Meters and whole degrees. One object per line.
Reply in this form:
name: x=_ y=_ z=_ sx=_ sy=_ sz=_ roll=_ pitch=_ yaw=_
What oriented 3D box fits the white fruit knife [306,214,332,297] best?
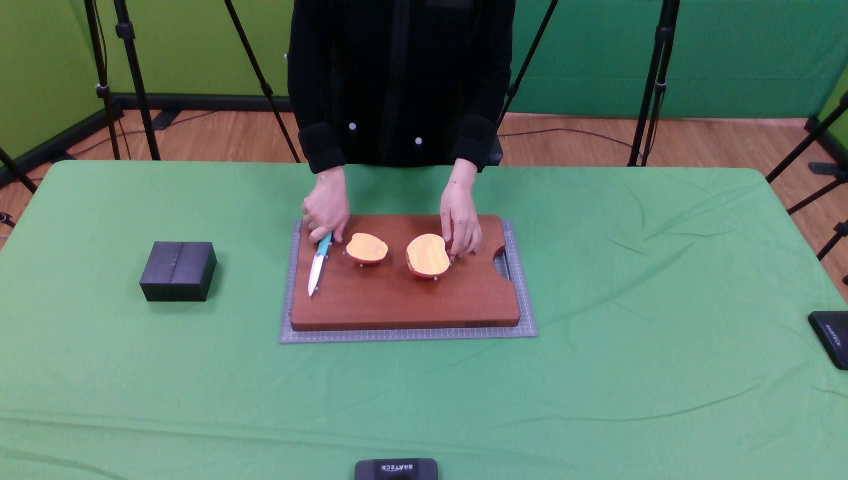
white fruit knife: x=-0.195 y=0.025 z=1.125 sx=0.027 sy=0.016 sz=0.206 roll=-16 pitch=43 yaw=21

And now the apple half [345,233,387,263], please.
apple half: x=-0.110 y=0.024 z=1.121 sx=0.081 sy=0.033 sz=0.081 roll=14 pitch=36 yaw=-10

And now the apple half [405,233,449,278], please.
apple half: x=0.002 y=0.033 z=1.102 sx=0.075 sy=0.053 sz=0.080 roll=-13 pitch=75 yaw=-20
